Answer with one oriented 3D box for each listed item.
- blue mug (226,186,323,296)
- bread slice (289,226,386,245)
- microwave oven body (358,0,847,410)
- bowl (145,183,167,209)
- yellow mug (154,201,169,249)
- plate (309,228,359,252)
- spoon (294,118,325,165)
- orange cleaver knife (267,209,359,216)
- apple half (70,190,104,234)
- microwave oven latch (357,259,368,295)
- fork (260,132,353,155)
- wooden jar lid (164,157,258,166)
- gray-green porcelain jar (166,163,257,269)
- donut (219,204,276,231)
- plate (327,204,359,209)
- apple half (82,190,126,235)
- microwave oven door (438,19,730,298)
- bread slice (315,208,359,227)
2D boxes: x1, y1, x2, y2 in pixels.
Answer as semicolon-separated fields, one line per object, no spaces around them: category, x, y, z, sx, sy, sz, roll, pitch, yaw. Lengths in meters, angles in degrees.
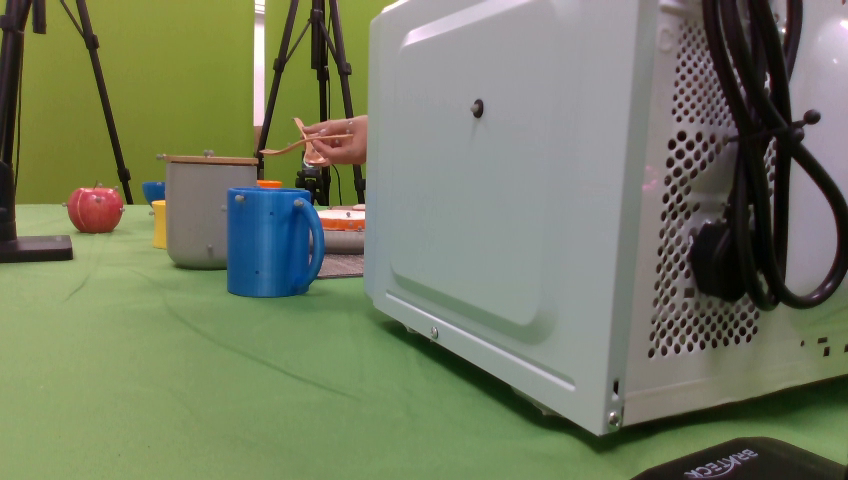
blue mug;-0.148;0.000;0.618;0.116;0.106;0.083;7;9;33
bread slice;-0.125;-0.008;0.938;0.131;0.019;0.105;5;7;31
microwave oven body;0.210;-0.051;0.471;0.444;0.260;0.324;-1;7;-28
bowl;-0.459;-0.068;1.175;0.151;0.077;0.151;2;7;0
yellow mug;-0.338;-0.022;0.899;0.130;0.064;0.100;8;9;34
plate;-0.130;-0.011;0.945;0.208;0.039;0.207;2;8;0
spoon;-0.240;-0.206;1.243;0.042;0.021;0.193;-7;44;-21
orange cleaver knife;-0.259;-0.064;1.423;0.212;0.012;0.077;-4;3;-30
apple half;-0.552;-0.047;1.009;0.053;0.074;0.081;-1;9;26
microwave oven latch;-0.019;0.031;0.529;0.079;0.029;0.030;-1;7;-25
fork;-0.214;-0.174;1.087;0.206;0.018;0.028;-9;7;29
wooden jar lid;-0.261;-0.093;0.746;0.108;0.020;0.108;0;9;0
gray-green porcelain jar;-0.263;-0.031;0.754;0.106;0.126;0.106;2;7;0
donut;-0.316;-0.039;1.083;0.099;0.048;0.099;3;7;0
plate;-0.102;-0.053;1.299;0.209;0.038;0.209;1;7;0
apple half;-0.517;-0.046;0.994;0.032;0.081;0.081;0;6;26
microwave oven door;0.181;-0.076;0.618;0.358;0.243;0.039;-2;8;-28
bread slice;-0.127;-0.035;0.933;0.134;0.018;0.107;4;11;28
